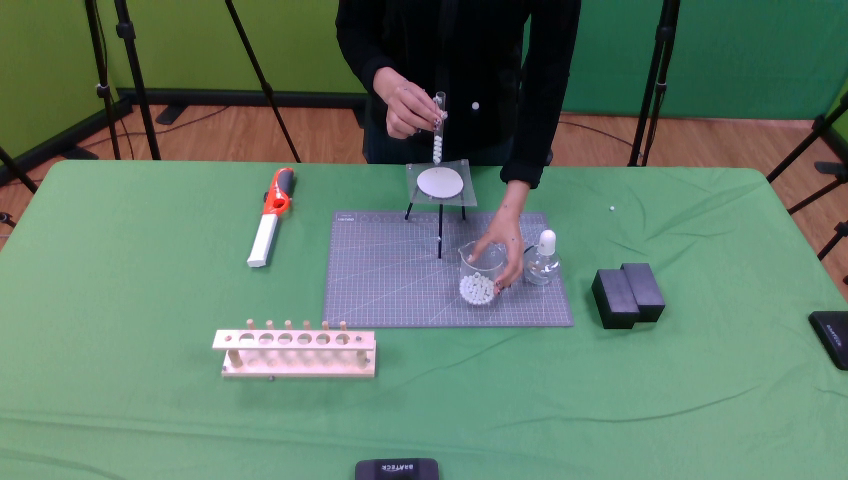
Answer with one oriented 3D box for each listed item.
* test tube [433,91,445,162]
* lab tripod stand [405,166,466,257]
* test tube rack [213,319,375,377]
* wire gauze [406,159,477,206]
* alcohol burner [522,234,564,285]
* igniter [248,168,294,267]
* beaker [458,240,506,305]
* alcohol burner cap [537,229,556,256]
[{"bbox_3d":[0.024,-0.186,1.017,0.017,0.151,0.017,1,52,-1],"label":"test tube"},{"bbox_3d":[0.030,-0.063,1.179,0.148,0.132,0.147,3,47,-3],"label":"lab tripod stand"},{"bbox_3d":[-0.202,0.170,0.977,0.242,0.085,0.066,1,46,-3],"label":"test tube rack"},{"bbox_3d":[0.031,-0.108,1.129,0.125,0.011,0.120,-1,48,-4],"label":"wire gauze"},{"bbox_3d":[0.223,0.027,1.120,0.078,0.119,0.077,2,48,-2],"label":"alcohol burner"},{"bbox_3d":[-0.307,-0.055,1.225,0.057,0.025,0.275,-3,45,6],"label":"igniter"},{"bbox_3d":[0.096,0.059,1.067,0.084,0.101,0.074,18,46,15],"label":"beaker"},{"bbox_3d":[0.223,0.002,1.095,0.034,0.048,0.033,-1,44,1],"label":"alcohol burner cap"}]
